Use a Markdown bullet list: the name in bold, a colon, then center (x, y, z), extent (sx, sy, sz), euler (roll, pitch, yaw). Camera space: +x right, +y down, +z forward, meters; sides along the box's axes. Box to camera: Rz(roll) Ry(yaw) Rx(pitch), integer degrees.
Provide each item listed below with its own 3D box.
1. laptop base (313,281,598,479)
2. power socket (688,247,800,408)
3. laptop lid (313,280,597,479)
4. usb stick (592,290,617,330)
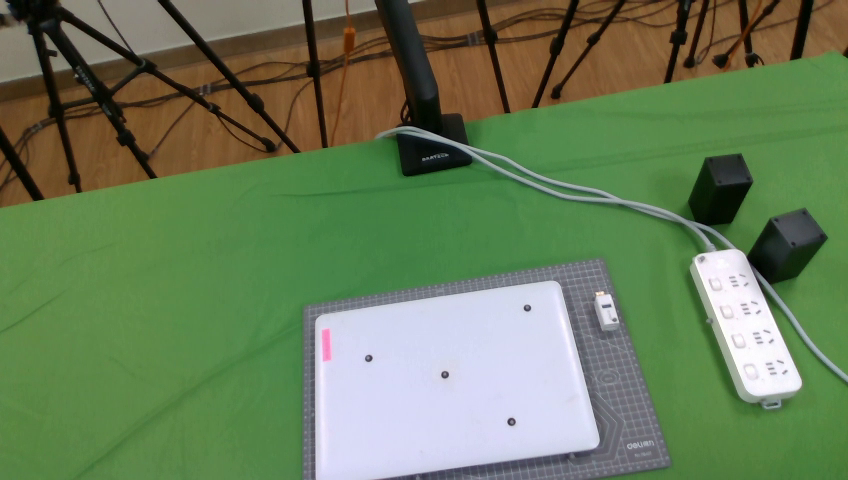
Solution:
- **laptop base**: center (0.028, 0.183, 0.808), extent (0.354, 0.023, 0.233), euler (-9, 60, 2)
- **power socket**: center (0.416, 0.106, 0.798), extent (0.072, 0.033, 0.224), euler (-9, 56, 3)
- **laptop lid**: center (0.027, 0.179, 0.797), extent (0.357, 0.013, 0.239), euler (-8, 59, 3)
- **usb stick**: center (0.246, 0.092, 0.831), extent (0.021, 0.027, 0.058), euler (-11, 54, 4)
